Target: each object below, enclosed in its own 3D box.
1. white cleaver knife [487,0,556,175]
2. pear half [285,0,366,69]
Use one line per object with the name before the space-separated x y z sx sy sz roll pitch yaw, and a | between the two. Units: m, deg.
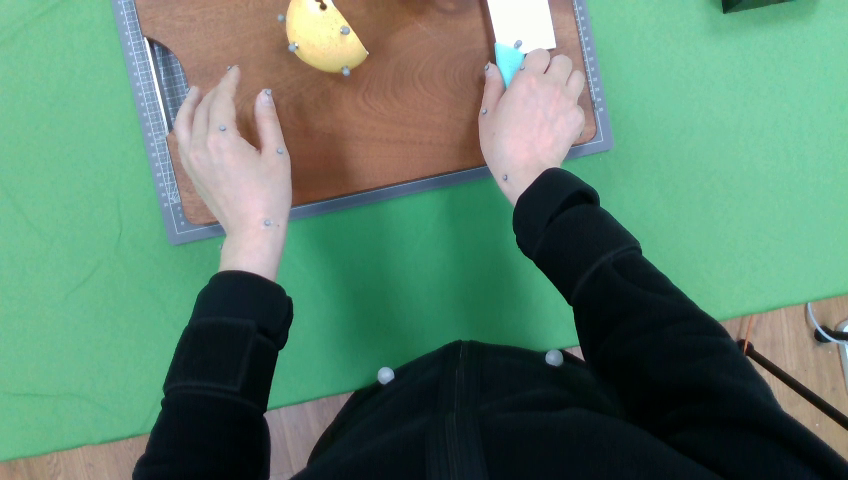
white cleaver knife | 0.089 -0.201 0.557 0.066 0.021 0.286 -12 93 -5
pear half | -0.090 -0.181 0.513 0.056 0.110 0.076 -42 88 1
